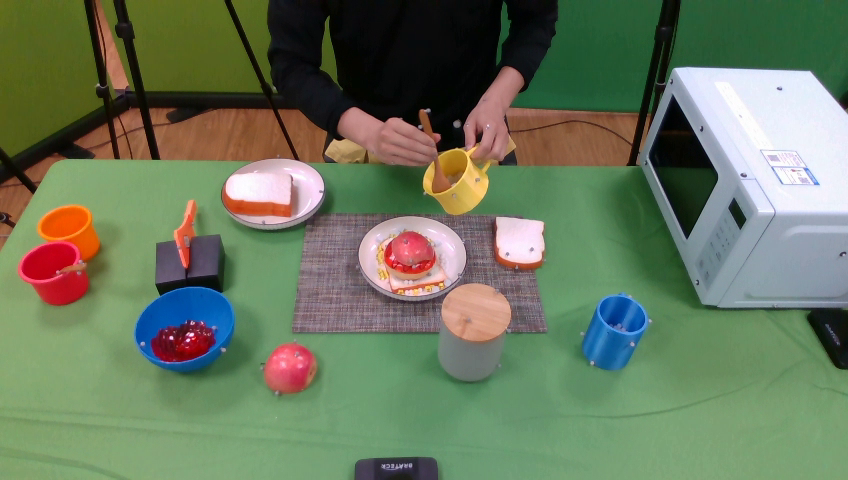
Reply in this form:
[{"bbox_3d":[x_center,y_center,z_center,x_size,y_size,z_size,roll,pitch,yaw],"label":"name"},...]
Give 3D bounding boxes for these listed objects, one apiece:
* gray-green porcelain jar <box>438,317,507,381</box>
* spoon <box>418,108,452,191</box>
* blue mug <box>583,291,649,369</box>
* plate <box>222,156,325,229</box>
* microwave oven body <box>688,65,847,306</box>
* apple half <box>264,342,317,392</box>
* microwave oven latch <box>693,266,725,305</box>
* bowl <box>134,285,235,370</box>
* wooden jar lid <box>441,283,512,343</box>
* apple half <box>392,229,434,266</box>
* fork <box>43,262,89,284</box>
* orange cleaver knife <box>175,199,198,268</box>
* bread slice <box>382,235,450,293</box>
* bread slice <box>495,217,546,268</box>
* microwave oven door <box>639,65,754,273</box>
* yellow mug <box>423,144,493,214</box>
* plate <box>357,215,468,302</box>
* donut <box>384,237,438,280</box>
[{"bbox_3d":[0.076,0.158,0.977,0.106,0.127,0.105,2,47,-2],"label":"gray-green porcelain jar"},{"bbox_3d":[0.016,-0.138,0.996,0.041,0.195,0.021,4,46,22],"label":"spoon"},{"bbox_3d":[0.324,0.142,1.023,0.082,0.106,0.116,15,47,11],"label":"blue mug"},{"bbox_3d":[-0.308,-0.095,1.251,0.209,0.038,0.208,2,47,-2],"label":"plate"},{"bbox_3d":[0.669,-0.111,1.176,0.326,0.261,0.439,0,46,-3],"label":"microwave oven body"},{"bbox_3d":[-0.214,0.198,0.970,0.074,0.053,0.080,19,48,10],"label":"apple half"},{"bbox_3d":[0.523,0.082,1.115,0.030,0.029,0.078,3,46,0],"label":"microwave oven latch"},{"bbox_3d":[-0.377,0.155,0.981,0.151,0.077,0.150,2,46,-2],"label":"bowl"},{"bbox_3d":[0.080,0.114,0.931,0.108,0.021,0.107,1,49,0],"label":"wooden jar lid"},{"bbox_3d":[-0.020,0.005,1.083,0.081,0.033,0.081,6,47,-7],"label":"apple half"},{"bbox_3d":[-0.599,0.053,1.013,0.207,0.019,0.028,-14,30,45],"label":"fork"},{"bbox_3d":[-0.438,-0.017,1.138,0.012,0.077,0.210,-14,27,-7],"label":"orange cleaver knife"},{"bbox_3d":[-0.025,0.044,1.146,0.107,0.018,0.133,-15,54,-13],"label":"bread slice"},{"bbox_3d":[0.194,0.002,1.205,0.105,0.019,0.131,5,45,3],"label":"bread slice"},{"bbox_3d":[0.522,-0.147,1.193,0.039,0.245,0.353,0,47,-3],"label":"microwave oven door"},{"bbox_3d":[0.068,-0.116,1.068,0.131,0.064,0.099,-44,39,5],"label":"yellow mug"},{"bbox_3d":[-0.022,0.037,1.141,0.208,0.039,0.206,2,46,-2],"label":"plate"},{"bbox_3d":[-0.025,0.030,1.110,0.099,0.048,0.098,2,46,-2],"label":"donut"}]
